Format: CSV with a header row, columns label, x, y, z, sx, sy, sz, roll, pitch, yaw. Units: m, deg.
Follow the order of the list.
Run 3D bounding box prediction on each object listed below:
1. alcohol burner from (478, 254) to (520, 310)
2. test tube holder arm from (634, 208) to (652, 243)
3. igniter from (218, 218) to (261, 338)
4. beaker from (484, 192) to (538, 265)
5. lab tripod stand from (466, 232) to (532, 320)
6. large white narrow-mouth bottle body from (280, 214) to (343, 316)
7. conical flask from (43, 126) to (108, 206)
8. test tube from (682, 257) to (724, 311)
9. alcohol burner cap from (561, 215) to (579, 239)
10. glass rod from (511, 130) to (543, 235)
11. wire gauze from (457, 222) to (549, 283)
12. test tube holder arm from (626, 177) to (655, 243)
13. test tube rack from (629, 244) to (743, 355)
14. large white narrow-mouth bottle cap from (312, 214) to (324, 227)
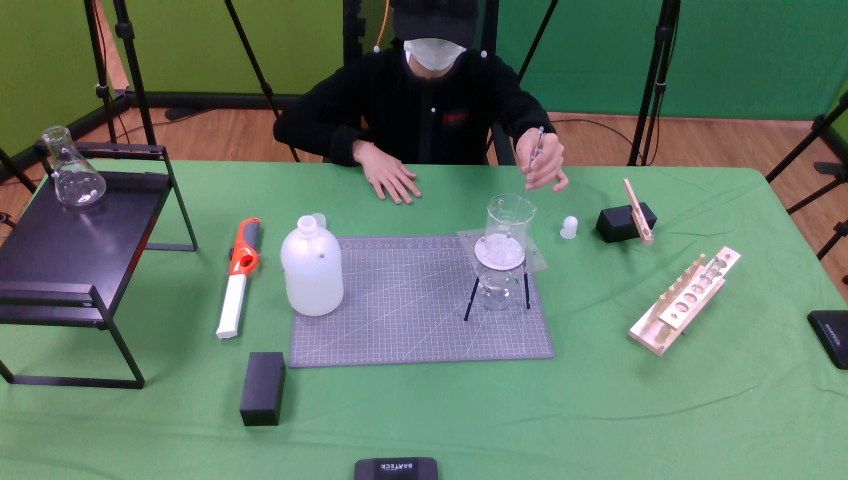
label,x,y,z,sx,sy,sz,roll,pitch,yaw
alcohol burner,0.133,0.068,1.071,0.078,0.120,0.077,0,47,0
test tube holder arm,0.428,-0.030,1.189,0.010,0.015,0.087,3,47,-3
igniter,-0.336,0.060,1.111,0.057,0.025,0.274,-7,46,4
beaker,0.137,-0.016,0.980,0.084,0.101,0.073,-6,45,-9
lab tripod stand,0.125,0.059,1.065,0.148,0.132,0.147,1,45,0
large white narrow-mouth bottle body,-0.190,0.035,1.025,0.102,0.195,0.101,2,46,-2
conical flask,-0.555,-0.119,0.953,0.075,0.122,0.075,2,46,-2
test tube,0.475,0.080,1.037,0.017,0.151,0.017,2,50,-2
alcohol burner cap,0.299,-0.030,1.231,0.034,0.048,0.033,0,46,0
glass rod,0.155,-0.081,0.921,0.008,0.200,0.008,5,42,-4
wire gauze,0.131,0.016,1.017,0.121,0.011,0.124,-10,44,-15
test tube holder arm,0.434,-0.063,1.220,0.013,0.015,0.177,3,47,-3
test tube rack,0.474,0.095,1.091,0.242,0.085,0.066,-34,56,-31
large white narrow-mouth bottle cap,-0.219,-0.033,1.214,0.038,0.024,0.037,2,46,-2
